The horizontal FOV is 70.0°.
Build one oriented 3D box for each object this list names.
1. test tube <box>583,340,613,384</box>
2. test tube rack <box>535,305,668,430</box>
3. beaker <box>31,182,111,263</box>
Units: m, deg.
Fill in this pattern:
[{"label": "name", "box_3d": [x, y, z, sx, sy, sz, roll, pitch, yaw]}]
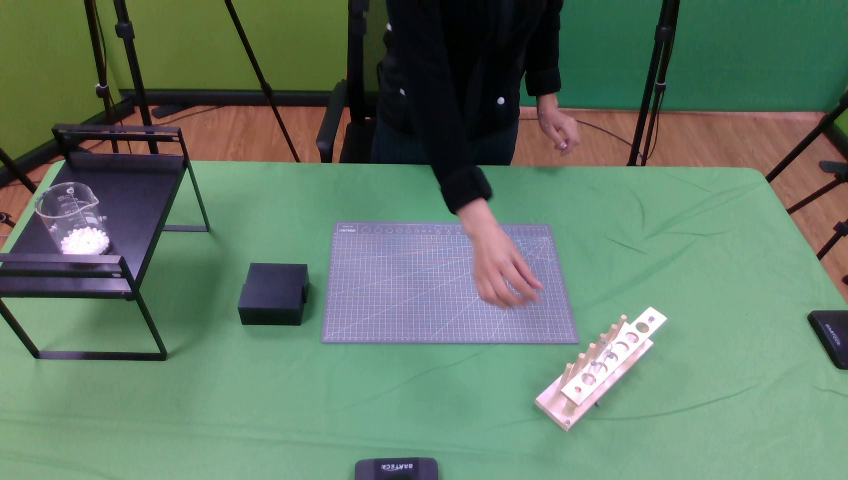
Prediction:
[{"label": "test tube", "box_3d": [0.252, 0.200, 0.907, 0.017, 0.151, 0.017, 5, 44, -4]}, {"label": "test tube rack", "box_3d": [0.290, 0.193, 0.984, 0.242, 0.085, 0.066, -32, 57, -30]}, {"label": "beaker", "box_3d": [-0.502, -0.022, 0.877, 0.084, 0.101, 0.073, -2, 47, -7]}]
